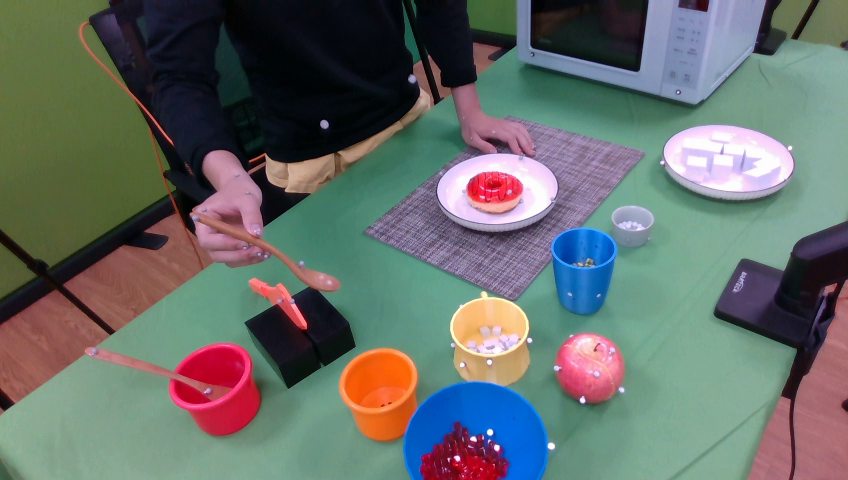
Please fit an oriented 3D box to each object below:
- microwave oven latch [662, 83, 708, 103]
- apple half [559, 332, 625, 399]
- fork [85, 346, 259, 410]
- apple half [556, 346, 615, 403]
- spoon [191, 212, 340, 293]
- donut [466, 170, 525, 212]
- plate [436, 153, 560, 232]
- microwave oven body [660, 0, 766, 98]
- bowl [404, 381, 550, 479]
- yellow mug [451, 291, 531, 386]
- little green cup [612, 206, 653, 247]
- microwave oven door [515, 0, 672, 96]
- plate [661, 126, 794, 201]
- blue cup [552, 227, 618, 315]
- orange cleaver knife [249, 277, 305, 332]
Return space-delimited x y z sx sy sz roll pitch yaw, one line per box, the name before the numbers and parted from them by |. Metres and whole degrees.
microwave oven latch | 0.518 -0.297 1.205 0.078 0.029 0.030 29 53 36
apple half | 0.209 0.147 0.730 0.080 0.075 0.053 26 48 38
fork | -0.298 0.166 0.727 0.209 0.018 0.028 28 47 -23
apple half | 0.181 0.167 0.709 0.080 0.081 0.033 29 52 35
spoon | -0.172 0.014 0.677 0.021 0.195 0.041 -47 37 8
donut | 0.121 -0.083 1.019 0.099 0.048 0.098 -4 38 3
plate | 0.125 -0.078 1.029 0.209 0.038 0.208 -4 40 4
microwave oven body | 0.472 -0.513 1.317 0.438 0.261 0.327 26 51 34
bowl | 0.058 0.235 0.645 0.151 0.077 0.150 -4 39 4
yellow mug | 0.086 0.120 0.786 0.100 0.064 0.130 -7 39 2
little green cup | 0.321 -0.019 0.936 0.061 0.039 0.061 -4 40 4
microwave oven door | 0.344 -0.455 1.259 0.353 0.245 0.039 26 51 33
plate | 0.513 -0.128 1.035 0.207 0.039 0.206 -4 40 4
blue cup | 0.218 0.047 0.825 0.092 0.100 0.092 -6 39 5
orange cleaver knife | -0.210 0.089 0.855 0.012 0.077 0.210 -28 15 -24
